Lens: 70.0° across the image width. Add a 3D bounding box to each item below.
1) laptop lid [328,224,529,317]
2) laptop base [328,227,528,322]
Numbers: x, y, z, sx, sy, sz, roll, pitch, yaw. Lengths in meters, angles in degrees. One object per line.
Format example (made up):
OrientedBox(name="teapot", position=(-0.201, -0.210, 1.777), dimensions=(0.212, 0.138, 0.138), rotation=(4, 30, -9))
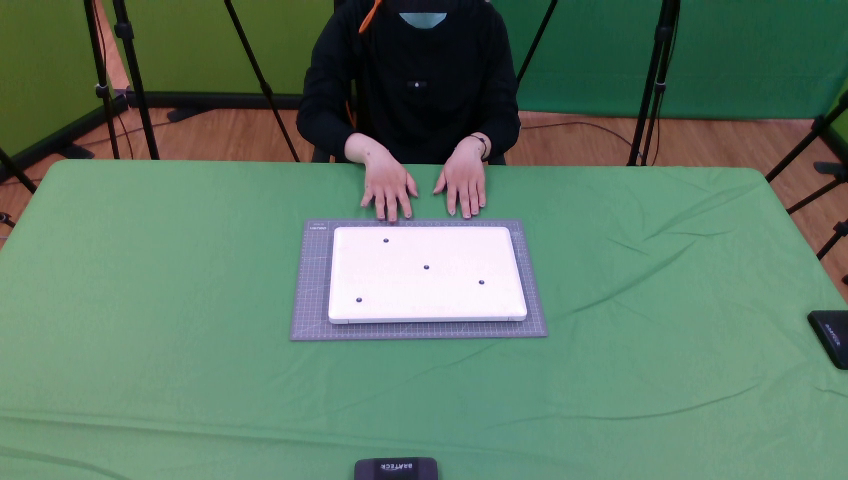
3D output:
OrientedBox(name="laptop lid", position=(0.005, 0.051, 1.130), dimensions=(0.357, 0.013, 0.240), rotation=(1, 44, -3))
OrientedBox(name="laptop base", position=(0.005, 0.061, 1.136), dimensions=(0.355, 0.023, 0.234), rotation=(0, 43, -4))
